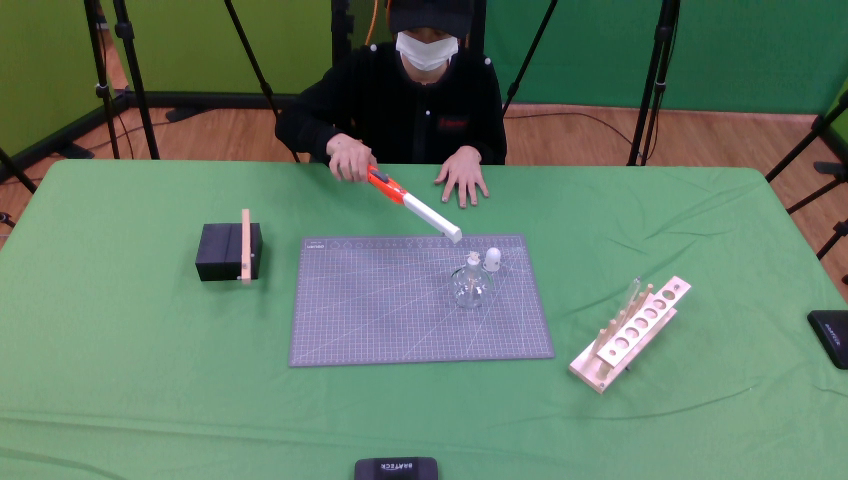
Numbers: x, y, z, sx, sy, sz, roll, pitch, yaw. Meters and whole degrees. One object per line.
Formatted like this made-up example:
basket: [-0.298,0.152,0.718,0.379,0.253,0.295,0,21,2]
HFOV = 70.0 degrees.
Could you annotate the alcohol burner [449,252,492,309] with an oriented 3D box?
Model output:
alcohol burner: [0.084,0.066,1.074,0.078,0.120,0.077,1,44,-1]

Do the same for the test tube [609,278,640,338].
test tube: [0.331,0.115,1.007,0.017,0.151,0.017,2,45,-2]

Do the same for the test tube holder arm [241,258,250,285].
test tube holder arm: [-0.316,0.043,1.071,0.015,0.010,0.087,-2,48,-15]

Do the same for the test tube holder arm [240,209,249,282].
test tube holder arm: [-0.324,0.006,1.096,0.015,0.013,0.177,-2,48,-15]

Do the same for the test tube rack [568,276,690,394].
test tube rack: [0.353,0.149,1.039,0.242,0.085,0.066,-34,56,-31]

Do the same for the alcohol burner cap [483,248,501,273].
alcohol burner cap: [0.130,0.037,1.156,0.034,0.048,0.033,1,46,-1]

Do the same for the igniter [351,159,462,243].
igniter: [-0.039,-0.076,1.073,0.025,0.057,0.275,-43,57,-18]
